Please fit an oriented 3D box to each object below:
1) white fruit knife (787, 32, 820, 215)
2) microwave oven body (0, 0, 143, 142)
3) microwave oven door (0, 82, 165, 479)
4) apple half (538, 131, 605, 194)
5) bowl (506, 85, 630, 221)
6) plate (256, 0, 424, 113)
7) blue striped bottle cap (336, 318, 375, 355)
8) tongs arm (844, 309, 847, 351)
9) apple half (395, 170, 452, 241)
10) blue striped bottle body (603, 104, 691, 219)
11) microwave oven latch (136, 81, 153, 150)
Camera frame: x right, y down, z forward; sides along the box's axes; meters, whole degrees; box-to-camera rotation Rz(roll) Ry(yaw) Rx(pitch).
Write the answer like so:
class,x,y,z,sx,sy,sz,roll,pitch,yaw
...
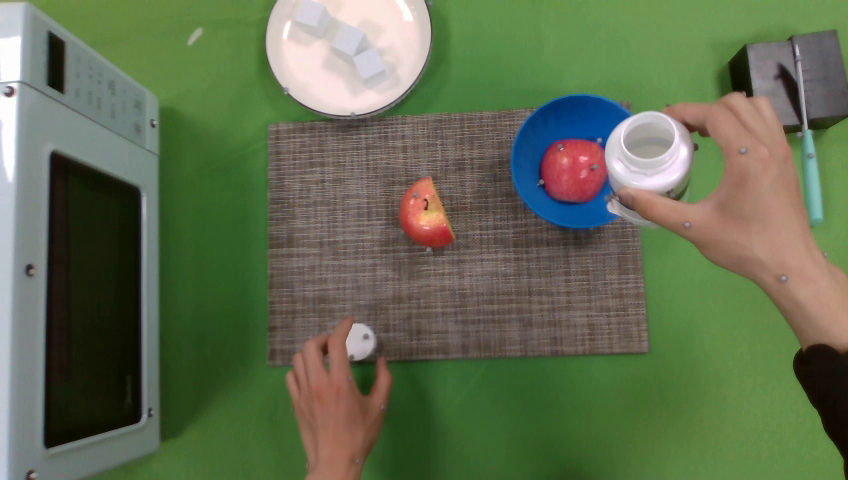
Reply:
class,x,y,z,sx,sy,sz,roll,pitch,yaw
white fruit knife,0.421,-0.127,0.676,0.016,0.027,0.208,-10,100,21
microwave oven body,-0.493,0.024,0.635,0.326,0.261,0.440,-5,84,3
microwave oven door,-0.344,0.053,0.616,0.039,0.244,0.354,-5,83,4
apple half,0.169,-0.090,0.686,0.081,0.033,0.081,-1,83,5
bowl,0.168,-0.091,0.691,0.151,0.077,0.151,-1,84,5
plate,-0.102,-0.255,0.754,0.207,0.039,0.207,0,84,4
blue striped bottle cap,-0.081,0.115,0.718,0.044,0.020,0.044,0,84,2
tongs arm,0.526,-0.050,0.691,0.028,0.028,0.386,13,85,4
apple half,-0.005,-0.034,0.700,0.053,0.075,0.080,-23,86,5
blue striped bottle body,0.178,-0.064,0.484,0.063,0.122,0.062,-6,73,20
microwave oven latch,-0.351,-0.151,0.742,0.030,0.029,0.079,-4,84,3
